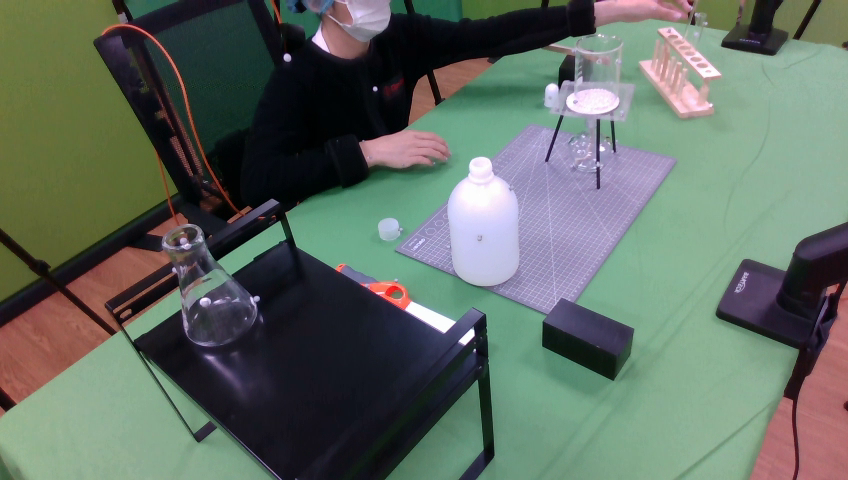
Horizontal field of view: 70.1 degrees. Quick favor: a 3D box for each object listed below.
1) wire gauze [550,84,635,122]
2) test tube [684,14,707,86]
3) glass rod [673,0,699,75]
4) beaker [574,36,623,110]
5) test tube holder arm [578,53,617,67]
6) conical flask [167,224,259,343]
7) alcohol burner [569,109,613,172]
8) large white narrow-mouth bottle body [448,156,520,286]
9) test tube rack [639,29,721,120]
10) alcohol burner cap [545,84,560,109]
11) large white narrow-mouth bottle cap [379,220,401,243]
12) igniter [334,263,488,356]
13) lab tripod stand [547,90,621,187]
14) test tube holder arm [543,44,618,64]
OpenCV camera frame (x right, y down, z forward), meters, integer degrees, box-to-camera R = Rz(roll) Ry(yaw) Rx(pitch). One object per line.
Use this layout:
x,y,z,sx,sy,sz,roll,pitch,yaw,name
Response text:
0.285,-0.234,1.021,0.124,0.011,0.121,8,41,24,wire gauze
0.541,-0.379,1.216,0.017,0.151,0.017,-2,44,2,test tube
0.541,-0.427,1.246,0.008,0.200,0.008,0,48,1,glass rod
0.285,-0.273,0.990,0.073,0.101,0.084,15,46,27,beaker
0.375,-0.393,1.314,0.087,0.015,0.010,25,50,32,test tube holder arm
-0.220,0.041,0.613,0.075,0.122,0.075,-5,40,4,conical flask
0.297,-0.181,1.073,0.078,0.119,0.077,-5,43,5,alcohol burner
0.086,-0.032,0.869,0.102,0.195,0.101,-4,40,4,large white narrow-mouth bottle body
0.527,-0.351,1.262,0.067,0.085,0.241,-8,40,1,test tube rack
0.274,-0.307,1.285,0.034,0.048,0.033,-5,42,5,alcohol burner cap
-0.057,-0.015,1.011,0.038,0.024,0.037,-4,40,4,large white narrow-mouth bottle cap
-0.030,0.095,0.872,0.274,0.025,0.057,23,60,31,igniter
0.289,-0.184,1.062,0.148,0.132,0.147,-6,41,6,lab tripod stand
0.344,-0.412,1.341,0.177,0.015,0.013,24,50,31,test tube holder arm
